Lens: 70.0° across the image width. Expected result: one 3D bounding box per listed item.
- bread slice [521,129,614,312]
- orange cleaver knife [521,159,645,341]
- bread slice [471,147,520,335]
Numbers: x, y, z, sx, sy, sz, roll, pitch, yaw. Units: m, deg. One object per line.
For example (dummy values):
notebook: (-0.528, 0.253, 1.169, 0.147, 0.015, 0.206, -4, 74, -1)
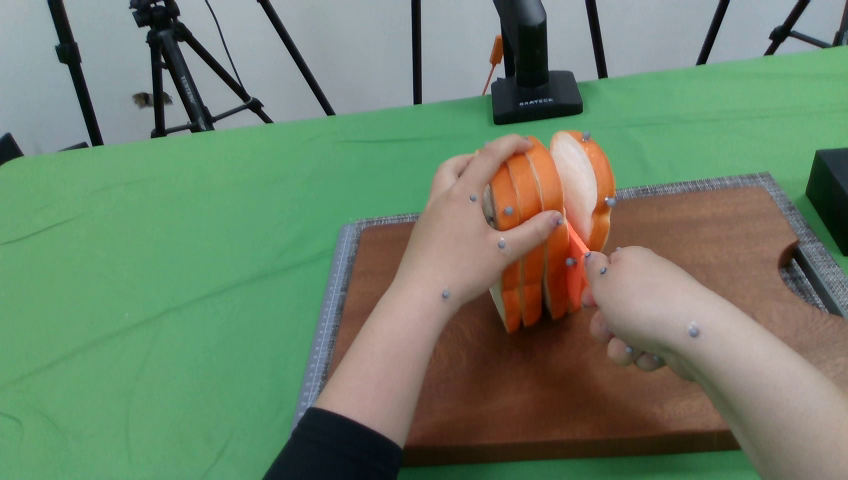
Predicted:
bread slice: (0.117, -0.021, 0.497, 0.019, 0.132, 0.103, -3, 39, -15)
orange cleaver knife: (0.111, 0.012, 0.464, 0.012, 0.078, 0.209, -11, 38, -6)
bread slice: (0.057, -0.008, 0.495, 0.018, 0.135, 0.106, -9, 36, -4)
